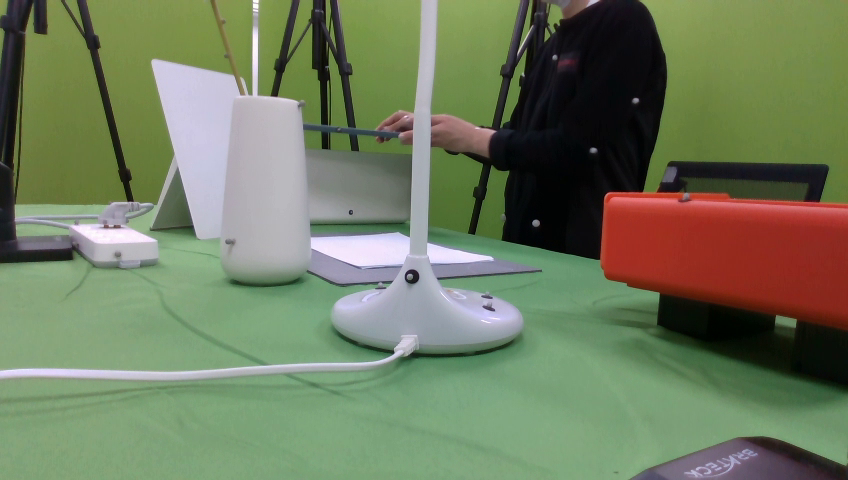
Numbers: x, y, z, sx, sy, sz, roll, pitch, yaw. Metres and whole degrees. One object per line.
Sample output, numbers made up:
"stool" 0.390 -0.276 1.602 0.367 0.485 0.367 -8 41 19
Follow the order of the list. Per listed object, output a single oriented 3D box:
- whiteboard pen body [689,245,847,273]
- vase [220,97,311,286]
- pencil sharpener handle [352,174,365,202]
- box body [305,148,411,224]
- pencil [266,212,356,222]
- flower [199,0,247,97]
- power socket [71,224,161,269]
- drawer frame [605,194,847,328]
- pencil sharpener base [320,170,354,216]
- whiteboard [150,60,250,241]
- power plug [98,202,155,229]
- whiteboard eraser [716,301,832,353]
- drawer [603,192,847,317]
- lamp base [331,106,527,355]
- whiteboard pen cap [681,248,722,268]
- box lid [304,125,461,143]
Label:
"whiteboard pen body" 0.303 0.015 0.519 0.140 0.017 0.017 5 8 25
"vase" -0.172 -0.052 0.662 0.098 0.200 0.098 3 8 0
"pencil sharpener handle" -0.156 -0.123 1.449 0.031 0.068 0.036 2 18 -10
"box body" -0.230 -0.126 1.371 0.366 0.160 0.253 -2 8 -33
"pencil" -0.244 -0.048 1.319 0.195 0.012 0.012 4 7 -13
"flower" -0.187 -0.133 0.648 0.038 0.362 0.044 0 21 42
"power socket" -0.408 0.004 0.793 0.072 0.032 0.225 -2 8 -38
"drawer frame" 0.298 0.007 0.497 0.203 0.082 0.212 -1 7 -34
"pencil sharpener base" -0.206 -0.112 1.437 0.077 0.107 0.061 2 6 -11
"whiteboard" -0.408 -0.139 1.093 0.143 0.305 0.218 -15 -1 26
"power plug" -0.416 -0.027 0.848 0.073 0.052 0.035 0 8 -28
"whiteboard eraser" 0.256 0.042 0.472 0.112 0.042 0.056 43 19 31
"drawer" 0.293 0.002 0.500 0.195 0.073 0.210 -1 8 -34
"lamp base" 0.006 -0.012 0.478 0.161 0.180 0.179 2 10 2
"whiteboard pen cap" 0.250 0.017 0.544 0.033 0.018 0.018 2 7 25
"box lid" -0.134 -0.228 1.290 0.373 0.015 0.262 0 11 -25
